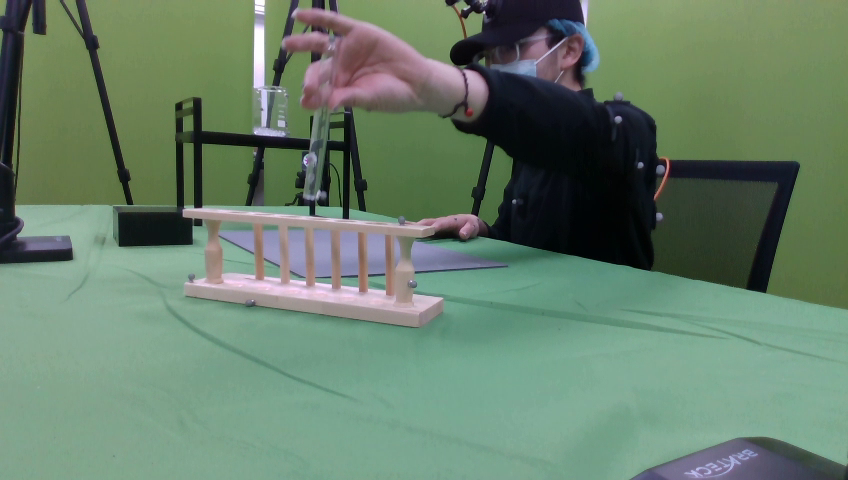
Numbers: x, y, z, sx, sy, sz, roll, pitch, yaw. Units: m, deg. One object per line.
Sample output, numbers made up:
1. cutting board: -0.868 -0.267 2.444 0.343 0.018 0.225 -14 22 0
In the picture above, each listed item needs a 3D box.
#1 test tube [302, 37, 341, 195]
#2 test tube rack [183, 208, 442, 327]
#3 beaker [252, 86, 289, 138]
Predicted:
1. test tube: -0.098 -0.118 0.578 0.017 0.150 0.017 9 4 0
2. test tube rack: -0.106 0.019 0.569 0.241 0.085 0.067 5 8 20
3. beaker: -0.319 -0.263 1.250 0.074 0.100 0.084 5 8 21
